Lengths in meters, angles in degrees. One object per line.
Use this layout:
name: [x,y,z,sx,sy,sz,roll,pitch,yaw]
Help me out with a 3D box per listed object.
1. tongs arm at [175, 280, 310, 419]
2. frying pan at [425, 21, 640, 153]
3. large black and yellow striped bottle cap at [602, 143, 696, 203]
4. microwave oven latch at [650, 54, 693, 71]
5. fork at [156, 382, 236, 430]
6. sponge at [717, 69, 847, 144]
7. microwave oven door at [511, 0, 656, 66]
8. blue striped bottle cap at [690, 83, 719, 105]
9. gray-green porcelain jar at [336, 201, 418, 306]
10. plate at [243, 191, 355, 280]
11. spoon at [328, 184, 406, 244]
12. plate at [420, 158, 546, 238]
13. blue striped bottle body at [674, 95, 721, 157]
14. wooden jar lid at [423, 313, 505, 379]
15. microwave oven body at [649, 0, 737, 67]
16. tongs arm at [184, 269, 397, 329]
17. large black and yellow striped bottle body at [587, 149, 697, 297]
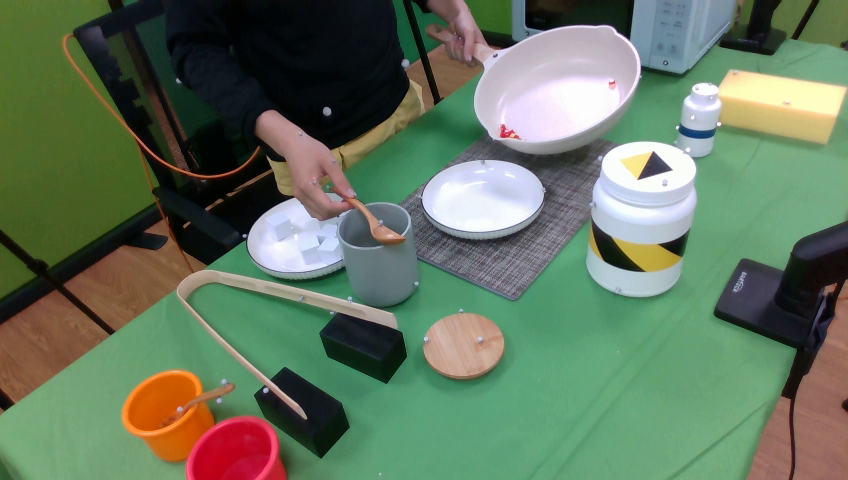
tongs arm: [-0.254,0.133,0.801,0.028,0.028,0.384,-41,41,-23]
frying pan: [0.170,-0.323,1.140,0.307,0.103,0.484,-43,58,-11]
large black and yellow striped bottle cap: [0.289,-0.088,0.778,0.115,0.019,0.114,-5,39,4]
microwave oven latch: [0.531,-0.386,1.301,0.078,0.029,0.030,26,51,33]
fork: [-0.262,0.189,0.690,0.018,0.206,0.028,49,43,-7]
sponge: [0.663,-0.256,1.142,0.205,0.061,0.118,19,47,28]
microwave oven door: [0.350,-0.539,1.349,0.353,0.245,0.039,24,50,31]
blue striped bottle cap: [0.481,-0.251,1.038,0.044,0.021,0.044,-5,40,5]
gray-green porcelain jar: [-0.064,0.024,0.872,0.106,0.127,0.105,-4,40,4]
plate: [-0.188,-0.005,0.992,0.207,0.039,0.206,-4,40,4]
spoon: [-0.085,-0.040,0.836,0.042,0.021,0.192,-5,33,-35]
plate: [0.099,-0.067,1.017,0.209,0.038,0.208,-4,40,4]
blue striped bottle body: [0.486,-0.213,1.071,0.063,0.121,0.063,-4,41,4]
wooden jar lid: [0.053,0.142,0.800,0.108,0.021,0.108,-5,39,4]
microwave oven body: [0.475,-0.602,1.411,0.438,0.261,0.327,23,50,32]
tongs arm: [-0.203,0.085,0.847,0.382,0.027,0.051,11,45,35]
large black and yellow striped bottle body: [0.298,-0.026,0.835,0.131,0.185,0.130,-4,41,4]
